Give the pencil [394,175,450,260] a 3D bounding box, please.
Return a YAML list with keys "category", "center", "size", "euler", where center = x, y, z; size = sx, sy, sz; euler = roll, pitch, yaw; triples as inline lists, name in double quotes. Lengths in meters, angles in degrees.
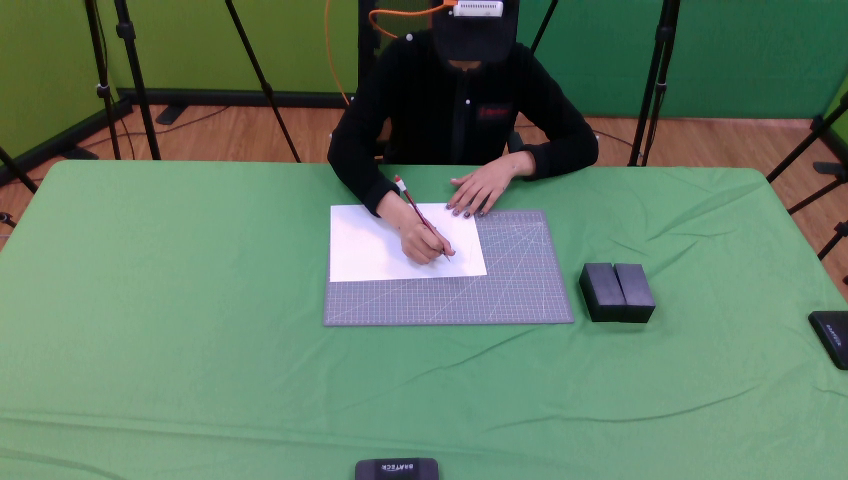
- category: "pencil"
  center: [-0.001, -0.038, 1.127]
  size: [0.012, 0.194, 0.012]
  euler: [-30, 17, 10]
